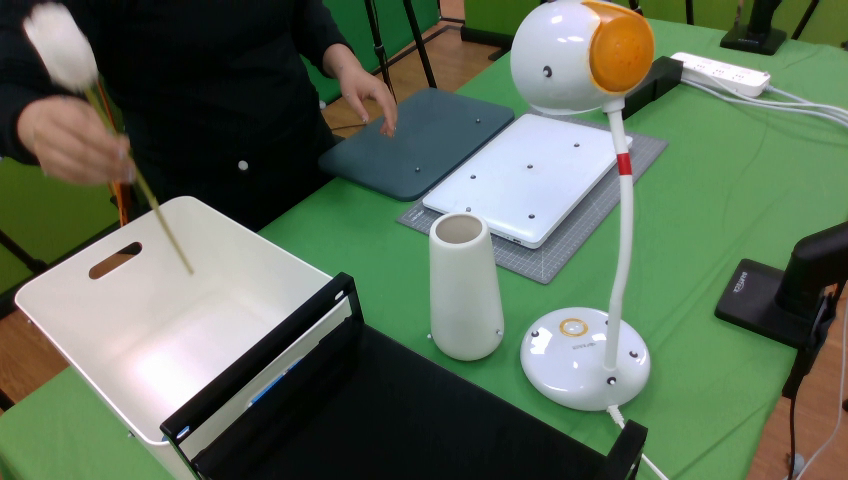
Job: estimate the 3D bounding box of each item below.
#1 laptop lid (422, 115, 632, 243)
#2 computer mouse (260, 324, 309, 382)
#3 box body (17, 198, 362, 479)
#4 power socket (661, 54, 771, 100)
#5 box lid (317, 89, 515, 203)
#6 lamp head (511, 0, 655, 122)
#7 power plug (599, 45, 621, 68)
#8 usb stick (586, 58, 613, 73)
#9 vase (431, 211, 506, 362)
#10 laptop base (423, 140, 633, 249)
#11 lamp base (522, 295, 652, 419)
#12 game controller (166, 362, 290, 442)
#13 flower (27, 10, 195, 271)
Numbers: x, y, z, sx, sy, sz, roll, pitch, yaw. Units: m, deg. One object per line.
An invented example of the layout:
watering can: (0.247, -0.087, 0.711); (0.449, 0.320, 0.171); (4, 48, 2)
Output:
laptop lid: (0.190, -0.126, 1.081); (0.239, 0.013, 0.358); (23, 48, 34)
computer mouse: (-0.158, 0.155, 0.793); (0.116, 0.041, 0.063); (29, 50, 24)
box body: (-0.285, 0.123, 0.766); (0.361, 0.161, 0.255); (25, 49, 33)
power socket: (0.615, -0.349, 1.285); (0.072, 0.033, 0.225); (-36, 48, -28)
box lid: (-0.009, -0.207, 1.236); (0.261, 0.015, 0.372); (23, 49, 32)
lamp head: (0.155, -0.168, 0.564); (0.113, 0.113, 0.122); (-18, 23, -12)
power plug: (0.437, -0.422, 1.412); (0.053, 0.035, 0.072); (-18, 75, -46)
usb stick: (0.401, -0.399, 1.381); (0.059, 0.027, 0.021); (0, 47, 21)
vase: (0.054, 0.062, 0.757); (0.098, 0.201, 0.097); (-3, 40, 3)
laptop base: (0.194, -0.117, 1.087); (0.233, 0.023, 0.355); (20, 47, 34)
lamp base: (0.201, 0.095, 0.710); (0.161, 0.181, 0.177); (-16, 43, -10)
game controller: (-0.233, 0.210, 0.737); (0.096, 0.052, 0.155); (27, 52, 32)
flower: (-0.291, -0.066, 0.615); (0.038, 0.363, 0.043); (-23, 58, -15)
